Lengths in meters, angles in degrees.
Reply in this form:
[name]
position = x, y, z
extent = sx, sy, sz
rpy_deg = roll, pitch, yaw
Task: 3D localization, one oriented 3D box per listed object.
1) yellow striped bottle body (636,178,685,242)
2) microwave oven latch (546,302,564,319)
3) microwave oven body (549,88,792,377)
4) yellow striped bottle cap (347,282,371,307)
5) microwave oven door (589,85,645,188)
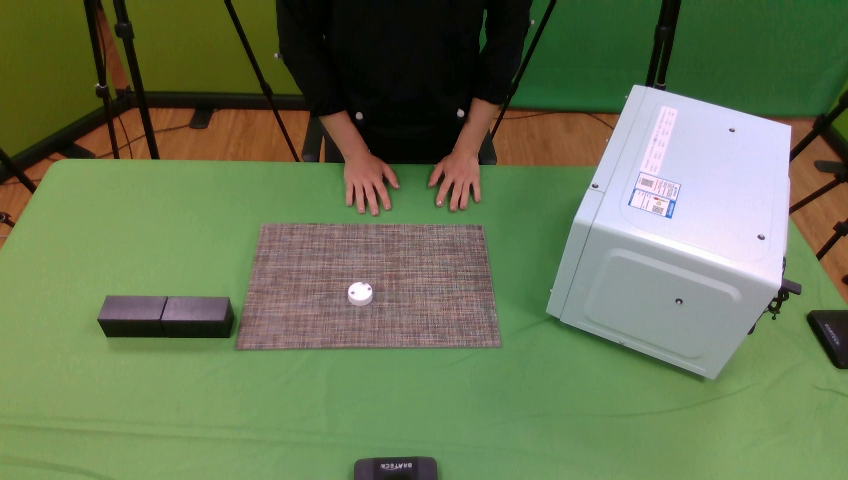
[yellow striped bottle body]
position = 0.442, -0.058, 1.126
extent = 0.063, 0.121, 0.062
rpy_deg = 0, 47, 0
[microwave oven latch]
position = 0.242, 0.102, 1.081
extent = 0.030, 0.029, 0.079
rpy_deg = 21, 48, 17
[microwave oven body]
position = 0.456, -0.028, 1.088
extent = 0.325, 0.261, 0.440
rpy_deg = 20, 47, 16
[yellow striped bottle cap]
position = -0.117, 0.098, 1.093
extent = 0.044, 0.019, 0.044
rpy_deg = 3, 46, -3
[microwave oven door]
position = 0.341, -0.107, 1.149
extent = 0.039, 0.245, 0.354
rpy_deg = 20, 48, 15
